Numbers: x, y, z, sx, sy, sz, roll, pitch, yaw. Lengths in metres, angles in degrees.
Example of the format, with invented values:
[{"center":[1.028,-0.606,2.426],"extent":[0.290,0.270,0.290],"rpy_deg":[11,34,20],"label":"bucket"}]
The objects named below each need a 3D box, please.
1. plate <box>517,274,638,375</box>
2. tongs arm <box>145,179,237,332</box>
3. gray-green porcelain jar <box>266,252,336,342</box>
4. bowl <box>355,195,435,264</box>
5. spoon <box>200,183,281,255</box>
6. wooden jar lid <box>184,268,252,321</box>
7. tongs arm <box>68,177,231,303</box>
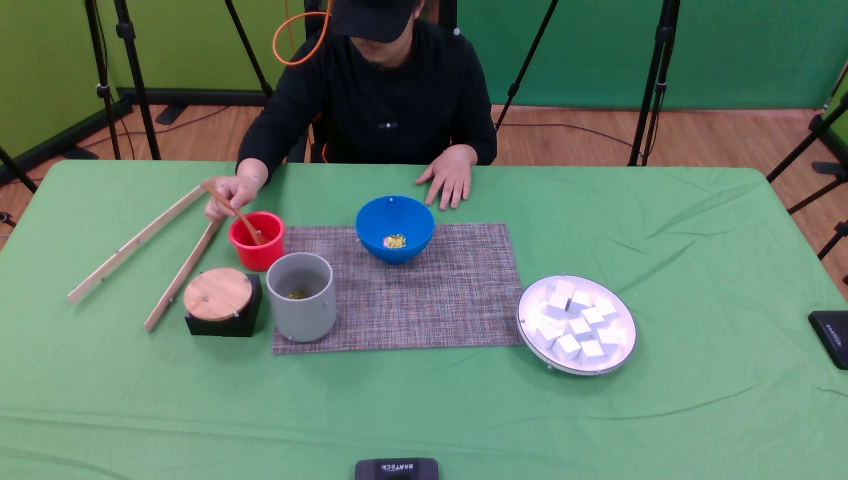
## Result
[{"center":[0.264,0.149,1.060],"extent":[0.209,0.038,0.208],"rpy_deg":[3,46,-3],"label":"plate"},{"center":[-0.432,0.015,1.149],"extent":[0.028,0.028,0.385],"rpy_deg":[8,45,7],"label":"tongs arm"},{"center":[-0.202,0.100,1.009],"extent":[0.106,0.127,0.105],"rpy_deg":[2,46,-2],"label":"gray-green porcelain jar"},{"center":[-0.056,-0.008,1.158],"extent":[0.151,0.077,0.150],"rpy_deg":[2,46,-2],"label":"bowl"},{"center":[-0.333,-0.038,1.110],"extent":[0.021,0.195,0.041],"rpy_deg":[-26,33,19],"label":"spoon"},{"center":[-0.343,0.093,1.015],"extent":[0.108,0.021,0.107],"rpy_deg":[3,46,-3],"label":"wooden jar lid"},{"center":[-0.510,-0.010,1.162],"extent":[0.050,0.026,0.383],"rpy_deg":[20,47,14],"label":"tongs arm"}]
